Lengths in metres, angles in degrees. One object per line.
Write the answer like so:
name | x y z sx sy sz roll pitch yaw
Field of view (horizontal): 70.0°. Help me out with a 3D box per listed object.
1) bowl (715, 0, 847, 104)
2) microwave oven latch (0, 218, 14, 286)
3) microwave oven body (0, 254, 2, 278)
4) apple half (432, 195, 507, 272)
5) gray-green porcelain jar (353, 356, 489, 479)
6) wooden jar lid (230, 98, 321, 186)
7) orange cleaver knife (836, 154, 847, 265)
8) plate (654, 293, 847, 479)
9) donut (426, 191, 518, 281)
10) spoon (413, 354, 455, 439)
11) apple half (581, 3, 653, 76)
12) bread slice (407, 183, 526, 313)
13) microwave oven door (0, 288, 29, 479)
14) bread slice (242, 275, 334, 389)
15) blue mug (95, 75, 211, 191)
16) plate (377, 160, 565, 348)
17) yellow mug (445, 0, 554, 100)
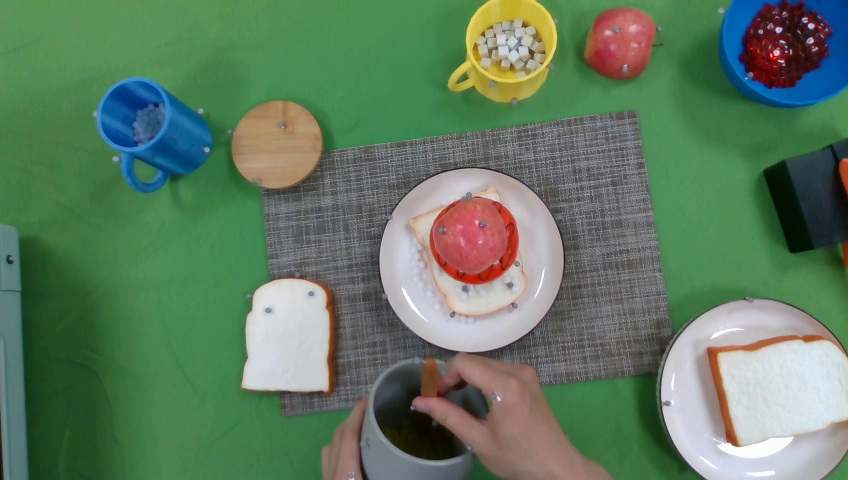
bowl | 0.387 -0.213 0.666 0.151 0.077 0.151 0 85 4
microwave oven latch | -0.495 0.013 0.702 0.030 0.029 0.079 -3 85 3
microwave oven body | -0.628 0.196 0.596 0.326 0.261 0.440 -7 84 3
apple half | 0.047 -0.008 0.620 0.081 0.033 0.081 -1 83 11
gray-green porcelain jar | -0.008 0.186 0.552 0.106 0.127 0.105 10 41 -8
wooden jar lid | -0.174 -0.114 0.719 0.108 0.021 0.108 -1 81 5
orange cleaver knife | 0.468 0.013 0.636 0.012 0.076 0.212 -19 105 -5
plate | 0.351 0.161 0.651 0.209 0.038 0.208 0 84 4
donut | 0.052 -0.004 0.655 0.099 0.048 0.099 0 85 4
spoon | 0.007 0.139 0.521 0.041 0.195 0.021 15 62 11
apple half | 0.222 -0.235 0.692 0.074 0.053 0.080 15 86 8
bread slice | 0.056 0.014 0.683 0.107 0.018 0.134 -24 83 2
microwave oven door | -0.479 0.219 0.579 0.039 0.244 0.354 -7 83 3
bread slice | -0.156 0.106 0.697 0.105 0.019 0.131 0 85 3
blue mug | -0.307 -0.113 0.687 0.082 0.106 0.116 13 85 5
plate | 0.051 0.016 0.682 0.207 0.039 0.207 0 85 4
yellow mug | 0.081 -0.212 0.692 0.131 0.064 0.099 -31 83 1
